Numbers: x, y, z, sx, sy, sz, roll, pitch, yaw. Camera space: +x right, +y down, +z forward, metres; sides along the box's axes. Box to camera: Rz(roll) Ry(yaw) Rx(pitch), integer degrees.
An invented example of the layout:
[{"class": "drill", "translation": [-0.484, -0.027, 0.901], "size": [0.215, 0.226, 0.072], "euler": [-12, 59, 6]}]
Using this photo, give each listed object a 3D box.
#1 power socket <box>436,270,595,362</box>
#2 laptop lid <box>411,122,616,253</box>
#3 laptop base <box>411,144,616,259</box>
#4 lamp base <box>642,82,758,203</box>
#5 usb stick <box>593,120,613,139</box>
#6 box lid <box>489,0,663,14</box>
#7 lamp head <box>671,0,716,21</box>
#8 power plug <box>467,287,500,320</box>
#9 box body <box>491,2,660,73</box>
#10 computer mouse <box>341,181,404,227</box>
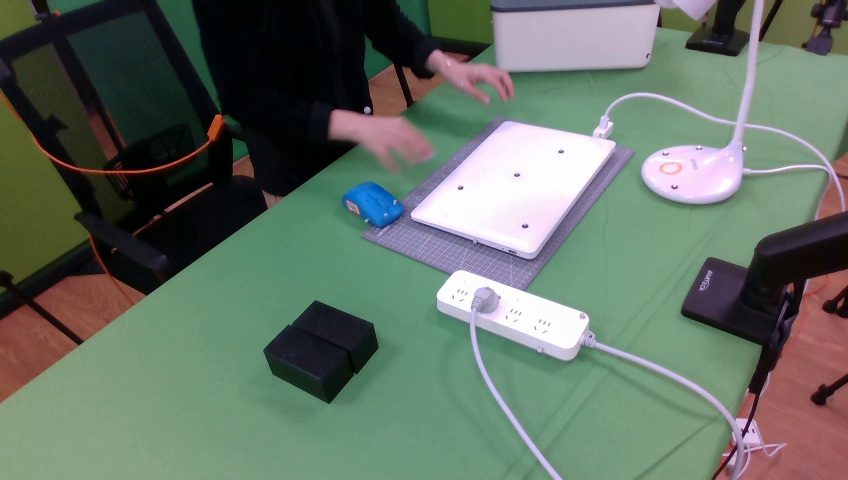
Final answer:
[{"class": "power socket", "translation": [0.118, 0.101, 0.832], "size": [0.225, 0.033, 0.072], "euler": [19, 48, 27]}, {"class": "laptop lid", "translation": [0.164, -0.111, 1.067], "size": [0.240, 0.013, 0.357], "euler": [19, 46, 31]}, {"class": "laptop base", "translation": [0.168, -0.102, 1.073], "size": [0.234, 0.023, 0.355], "euler": [17, 45, 31]}, {"class": "lamp base", "translation": [0.464, -0.174, 0.992], "size": [0.179, 0.181, 0.159], "euler": [-5, 41, -2]}, {"class": "usb stick", "translation": [0.336, -0.201, 1.147], "size": [0.021, 0.027, 0.059], "euler": [26, 53, 27]}, {"class": "box lid", "translation": [0.341, -0.576, 1.380], "size": [0.371, 0.015, 0.262], "euler": [0, 41, 10]}, {"class": "lamp head", "translation": [0.375, -0.373, 0.807], "size": [0.122, 0.113, 0.112], "euler": [-40, 27, 32]}, {"class": "power plug", "translation": [0.073, 0.092, 0.814], "size": [0.035, 0.053, 0.073], "euler": [29, 54, 34]}, {"class": "box body", "translation": [0.347, -0.521, 1.429], "size": [0.363, 0.161, 0.253], "euler": [1, 41, 9]}, {"class": "computer mouse", "translation": [-0.091, -0.066, 1.052], "size": [0.063, 0.041, 0.116], "euler": [-33, 48, -29]}]
